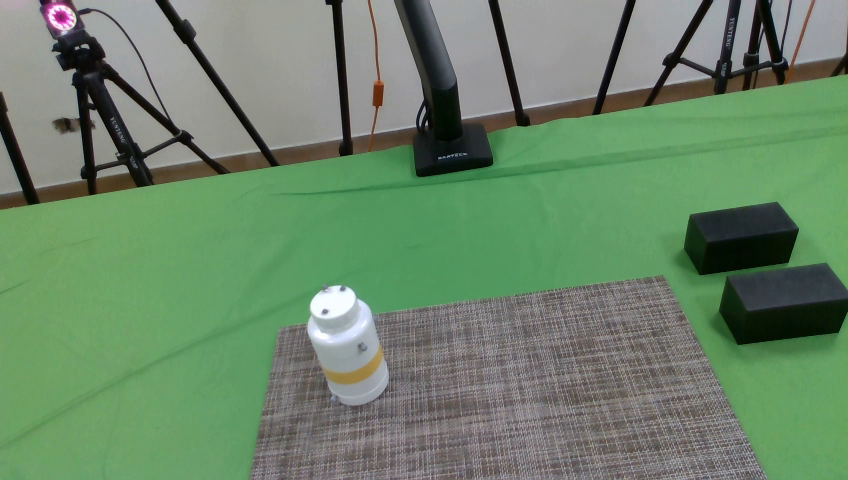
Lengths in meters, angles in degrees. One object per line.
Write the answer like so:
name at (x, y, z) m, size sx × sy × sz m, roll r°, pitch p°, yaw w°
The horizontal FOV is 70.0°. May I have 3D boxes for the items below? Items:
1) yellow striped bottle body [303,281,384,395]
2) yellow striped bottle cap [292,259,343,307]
yellow striped bottle body at (-0.080, 0.093, 0.597) m, size 0.063 × 0.121 × 0.062 m, roll -6°, pitch 41°, yaw 6°
yellow striped bottle cap at (-0.096, 0.039, 0.549) m, size 0.044 × 0.019 × 0.044 m, roll -7°, pitch 47°, yaw 8°
